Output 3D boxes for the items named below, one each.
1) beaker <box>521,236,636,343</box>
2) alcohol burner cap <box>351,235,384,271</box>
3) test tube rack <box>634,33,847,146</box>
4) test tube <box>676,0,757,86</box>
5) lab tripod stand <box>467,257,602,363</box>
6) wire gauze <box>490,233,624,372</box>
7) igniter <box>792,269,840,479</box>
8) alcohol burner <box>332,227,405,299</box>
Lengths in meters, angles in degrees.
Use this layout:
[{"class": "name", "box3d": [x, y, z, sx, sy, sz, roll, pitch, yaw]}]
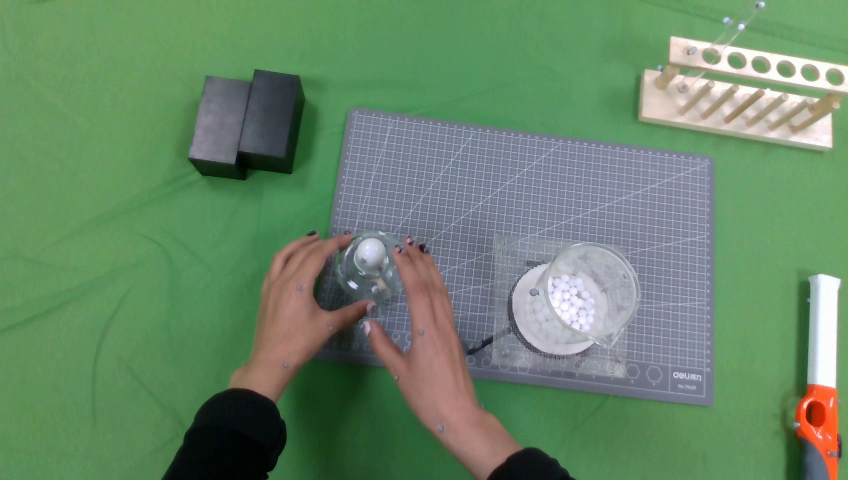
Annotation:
[{"class": "beaker", "box3d": [0.124, 0.049, 0.506, 0.074, 0.100, 0.083, -15, 76, -7]}, {"class": "alcohol burner cap", "box3d": [-0.054, 0.011, 0.594, 0.034, 0.048, 0.033, 2, 79, -8]}, {"class": "test tube rack", "box3d": [0.388, -0.177, 0.726, 0.242, 0.085, 0.066, 8, 75, -2]}, {"class": "test tube", "box3d": [0.323, -0.219, 0.680, 0.017, 0.151, 0.017, 1, 72, -4]}, {"class": "lab tripod stand", "box3d": [0.115, 0.074, 0.617, 0.148, 0.132, 0.147, 1, 75, -2]}, {"class": "wire gauze", "box3d": [0.121, 0.055, 0.555, 0.125, 0.011, 0.121, 5, 74, 0]}, {"class": "igniter", "box3d": [0.438, 0.168, 0.675, 0.057, 0.025, 0.275, 14, 76, -11]}, {"class": "alcohol burner", "box3d": [-0.057, 0.019, 0.628, 0.078, 0.119, 0.077, 1, 74, -3]}]
